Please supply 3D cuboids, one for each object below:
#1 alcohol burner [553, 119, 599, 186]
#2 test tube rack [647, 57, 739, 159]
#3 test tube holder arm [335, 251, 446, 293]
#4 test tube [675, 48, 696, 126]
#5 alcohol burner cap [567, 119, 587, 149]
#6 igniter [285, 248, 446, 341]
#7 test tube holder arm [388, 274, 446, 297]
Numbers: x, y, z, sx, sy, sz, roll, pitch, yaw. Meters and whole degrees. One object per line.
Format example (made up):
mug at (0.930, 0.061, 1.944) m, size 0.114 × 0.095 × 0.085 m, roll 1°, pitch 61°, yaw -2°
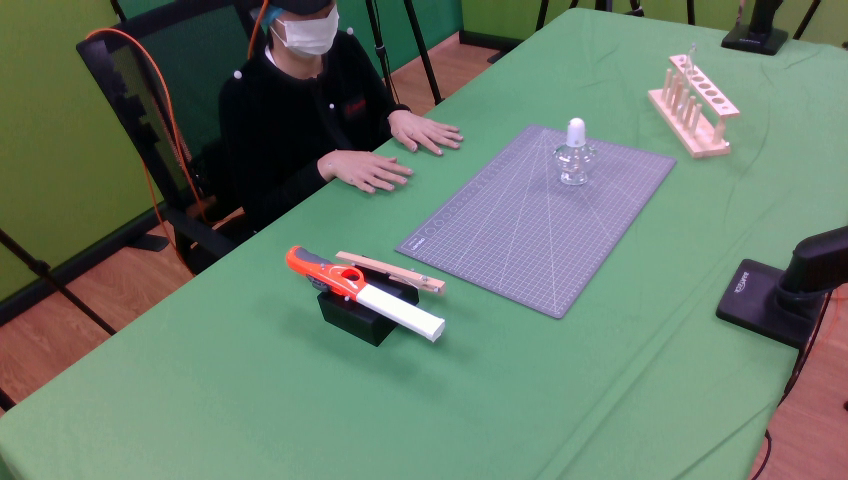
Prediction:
alcohol burner at (0.261, -0.153, 1.042) m, size 0.078 × 0.119 × 0.077 m, roll -6°, pitch 40°, yaw 6°
test tube rack at (0.504, -0.257, 1.153) m, size 0.067 × 0.085 × 0.241 m, roll -7°, pitch 40°, yaw 1°
test tube holder arm at (-0.050, 0.043, 0.853) m, size 0.177 × 0.013 × 0.015 m, roll 17°, pitch 39°, yaw 24°
test tube at (0.481, -0.279, 1.112) m, size 0.017 × 0.151 × 0.017 m, roll -5°, pitch 40°, yaw 5°
alcohol burner cap at (0.257, -0.180, 1.019) m, size 0.034 × 0.048 × 0.033 m, roll -7°, pitch 35°, yaw 5°
igniter at (-0.091, 0.069, 0.831) m, size 0.274 × 0.025 × 0.057 m, roll 22°, pitch 47°, yaw 27°
test tube holder arm at (-0.011, 0.060, 0.838) m, size 0.087 × 0.010 × 0.015 m, roll 18°, pitch 39°, yaw 24°
